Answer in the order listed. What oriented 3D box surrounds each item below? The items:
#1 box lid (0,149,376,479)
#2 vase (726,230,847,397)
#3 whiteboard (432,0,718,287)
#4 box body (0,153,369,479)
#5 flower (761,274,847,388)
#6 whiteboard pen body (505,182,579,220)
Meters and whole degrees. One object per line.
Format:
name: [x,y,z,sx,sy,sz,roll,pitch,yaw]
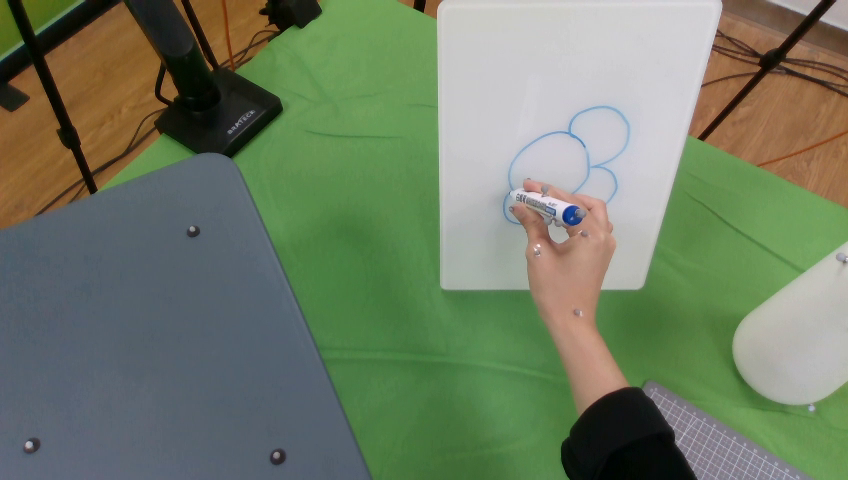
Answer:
box lid: [-0.216,0.099,0.446,0.263,0.015,0.368,-24,62,-13]
vase: [0.341,0.063,0.522,0.098,0.201,0.097,-1,58,2]
whiteboard: [0.120,-0.112,0.601,0.217,0.308,0.142,0,41,2]
box body: [-0.213,0.139,0.510,0.254,0.162,0.360,-24,62,-12]
flower: [0.341,0.008,0.458,0.044,0.364,0.038,24,46,18]
whiteboard pen body: [0.091,-0.035,0.500,0.017,0.140,0.017,-3,103,-11]
